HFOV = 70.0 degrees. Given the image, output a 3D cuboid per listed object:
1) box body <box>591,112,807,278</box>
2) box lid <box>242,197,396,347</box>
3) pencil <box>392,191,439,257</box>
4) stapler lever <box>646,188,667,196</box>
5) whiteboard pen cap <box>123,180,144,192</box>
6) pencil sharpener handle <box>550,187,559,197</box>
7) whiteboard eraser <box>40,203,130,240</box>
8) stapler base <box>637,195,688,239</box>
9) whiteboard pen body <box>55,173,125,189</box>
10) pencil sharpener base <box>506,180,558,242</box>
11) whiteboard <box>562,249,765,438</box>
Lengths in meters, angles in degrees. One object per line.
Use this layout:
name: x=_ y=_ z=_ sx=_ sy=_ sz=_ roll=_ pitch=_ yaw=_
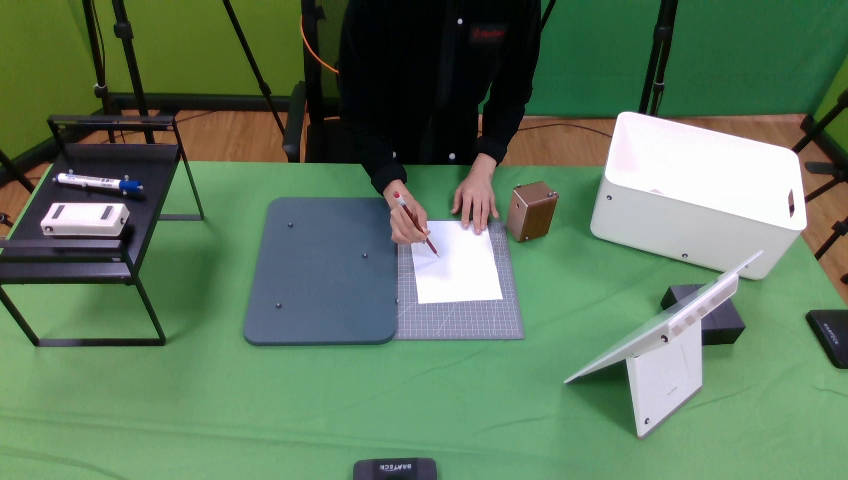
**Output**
box body: x=0.540 y=-0.092 z=1.229 sx=0.363 sy=0.161 sz=0.253 roll=16 pitch=47 yaw=11
box lid: x=-0.186 y=0.046 z=1.147 sx=0.263 sy=0.015 sz=0.369 roll=0 pitch=46 yaw=-3
pencil: x=-0.011 y=-0.024 z=1.103 sx=0.012 sy=0.195 sz=0.012 roll=-16 pitch=47 yaw=18
stapler lever: x=0.507 y=-0.075 z=1.262 sx=0.027 sy=0.040 sz=0.117 roll=-14 pitch=46 yaw=-19
whiteboard pen cap: x=-0.479 y=-0.089 z=0.993 sx=0.033 sy=0.018 sz=0.018 roll=7 pitch=46 yaw=14
pencil sharpener handle: x=0.261 y=-0.084 z=1.221 sx=0.031 sy=0.068 sz=0.036 roll=-16 pitch=66 yaw=-19
whiteboard eraser: x=-0.513 y=-0.028 z=0.922 sx=0.113 sy=0.042 sz=0.055 roll=1 pitch=48 yaw=-3
stapler base: x=0.507 y=-0.055 z=1.280 sx=0.041 sy=0.024 sz=0.129 roll=-14 pitch=47 yaw=-19
whiteboard pen body: x=-0.539 y=-0.095 z=0.998 sx=0.141 sy=0.017 sz=0.017 roll=7 pitch=46 yaw=6
pencil sharpener base: x=0.216 y=-0.058 z=1.211 sx=0.077 sy=0.107 sz=0.061 roll=-16 pitch=49 yaw=-19
whiteboard: x=0.386 y=0.175 z=0.905 sx=0.217 sy=0.306 sz=0.143 roll=-26 pitch=72 yaw=-26
